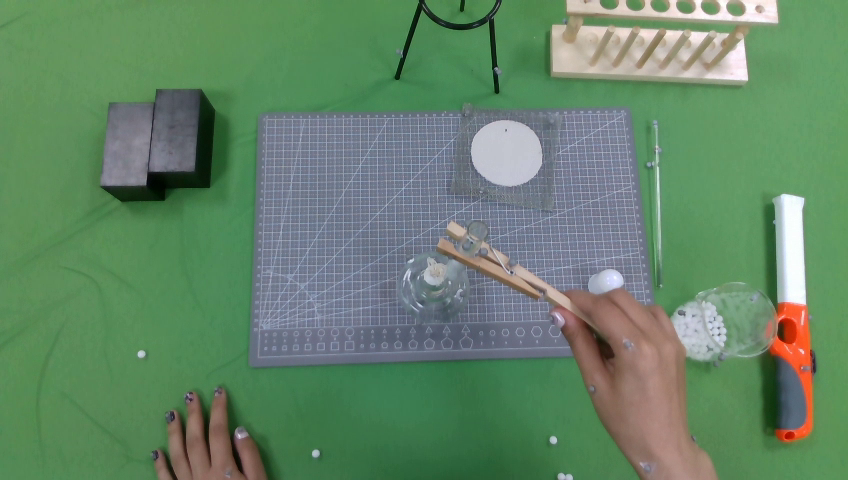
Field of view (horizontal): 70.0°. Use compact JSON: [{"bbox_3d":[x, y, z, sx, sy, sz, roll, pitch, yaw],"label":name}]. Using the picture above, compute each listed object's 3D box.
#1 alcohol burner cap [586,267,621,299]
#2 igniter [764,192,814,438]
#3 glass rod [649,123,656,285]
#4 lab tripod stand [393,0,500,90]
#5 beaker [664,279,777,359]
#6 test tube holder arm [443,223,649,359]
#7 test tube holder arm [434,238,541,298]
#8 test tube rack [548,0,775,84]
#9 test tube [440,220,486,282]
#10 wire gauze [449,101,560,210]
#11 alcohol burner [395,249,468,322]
[{"bbox_3d":[0.201,0.045,0.669,0.034,0.048,0.033,0,76,-1],"label":"alcohol burner cap"},{"bbox_3d":[0.406,0.080,0.677,0.057,0.025,0.275,9,76,-10],"label":"igniter"},{"bbox_3d":[0.269,-0.045,0.713,0.008,0.008,0.199,4,78,-1],"label":"glass rod"},{"bbox_3d":[0.032,-0.243,0.692,0.148,0.132,0.147,0,77,-1],"label":"lab tripod stand"},{"bbox_3d":[0.301,0.085,0.635,0.084,0.101,0.074,30,76,7],"label":"beaker"},{"bbox_3d":[0.091,0.038,0.460,0.178,0.015,0.013,31,81,4],"label":"test tube holder arm"},{"bbox_3d":[0.049,0.022,0.462,0.088,0.015,0.010,24,80,3],"label":"test tube holder arm"},{"bbox_3d":[0.277,-0.243,0.724,0.242,0.085,0.066,2,75,-1],"label":"test tube rack"},{"bbox_3d":[0.029,0.013,0.485,0.017,0.151,0.017,1,75,-5],"label":"test tube"},{"bbox_3d":[0.097,-0.104,0.721,0.125,0.011,0.121,10,77,0],"label":"wire gauze"},{"bbox_3d":[0.007,0.043,0.626,0.078,0.119,0.077,0,74,0],"label":"alcohol burner"}]
